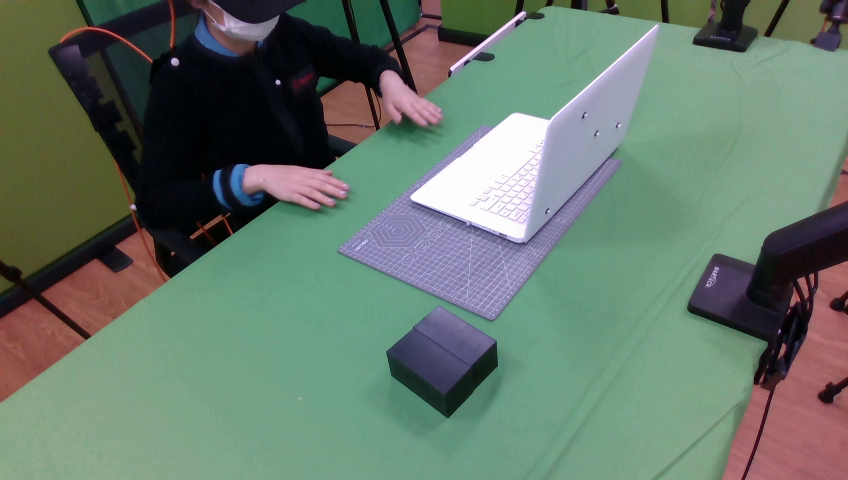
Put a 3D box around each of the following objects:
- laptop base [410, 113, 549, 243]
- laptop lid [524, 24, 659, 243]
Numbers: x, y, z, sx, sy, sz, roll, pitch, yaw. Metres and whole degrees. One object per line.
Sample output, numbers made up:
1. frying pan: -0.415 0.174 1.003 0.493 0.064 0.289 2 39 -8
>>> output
1. laptop base: 0.171 -0.126 1.096 0.233 0.023 0.355 21 47 33
2. laptop lid: 0.266 -0.170 0.949 0.013 0.242 0.358 30 50 25
